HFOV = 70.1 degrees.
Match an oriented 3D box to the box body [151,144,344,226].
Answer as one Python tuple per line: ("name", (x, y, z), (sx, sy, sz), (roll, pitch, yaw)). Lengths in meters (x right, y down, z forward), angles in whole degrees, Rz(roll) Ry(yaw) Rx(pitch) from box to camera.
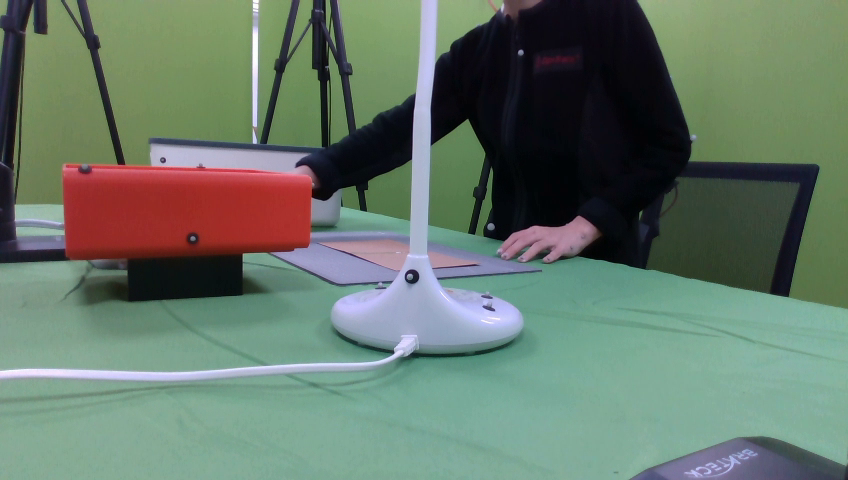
("box body", (-0.370, -0.119, 1.264), (0.366, 0.160, 0.253), (-1, 8, -24))

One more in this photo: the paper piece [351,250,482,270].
("paper piece", (-0.013, 0.026, 0.842), (0.139, 0.008, 0.135), (-1, 11, -32))

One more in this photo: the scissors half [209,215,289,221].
("scissors half", (-0.358, -0.044, 1.235), (0.175, 0.013, 0.040), (1, -2, 8))

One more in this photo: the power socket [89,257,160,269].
("power socket", (-0.409, 0.004, 0.793), (0.072, 0.032, 0.225), (-2, 8, -38))

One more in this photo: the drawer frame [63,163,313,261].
("drawer frame", (-0.248, -0.036, 0.626), (0.215, 0.082, 0.200), (-3, 9, -31))

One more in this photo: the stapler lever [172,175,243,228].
("stapler lever", (-0.217, -0.041, 0.618), (0.027, 0.040, 0.118), (19, 11, -2))

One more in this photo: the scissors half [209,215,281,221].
("scissors half", (-0.364, -0.044, 1.215), (0.174, 0.013, 0.040), (1, 3, 26))

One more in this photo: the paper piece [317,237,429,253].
("paper piece", (-0.083, 0.007, 0.951), (0.136, 0.004, 0.134), (-2, 9, -31))

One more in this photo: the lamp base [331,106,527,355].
("lamp base", (0.006, -0.012, 0.478), (0.161, 0.180, 0.179), (2, 10, 2))

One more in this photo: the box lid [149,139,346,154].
("box lid", (-0.365, -0.191, 1.255), (0.373, 0.015, 0.262), (-1, 8, -24))

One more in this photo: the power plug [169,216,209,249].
("power plug", (-0.343, -0.008, 0.889), (0.035, 0.052, 0.072), (-8, -6, -41))

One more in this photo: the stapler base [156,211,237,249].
("stapler base", (-0.227, -0.017, 0.624), (0.041, 0.024, 0.130), (19, 9, -2))

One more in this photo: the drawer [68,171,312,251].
("drawer", (-0.247, -0.036, 0.629), (0.213, 0.073, 0.193), (-3, 9, -30))
